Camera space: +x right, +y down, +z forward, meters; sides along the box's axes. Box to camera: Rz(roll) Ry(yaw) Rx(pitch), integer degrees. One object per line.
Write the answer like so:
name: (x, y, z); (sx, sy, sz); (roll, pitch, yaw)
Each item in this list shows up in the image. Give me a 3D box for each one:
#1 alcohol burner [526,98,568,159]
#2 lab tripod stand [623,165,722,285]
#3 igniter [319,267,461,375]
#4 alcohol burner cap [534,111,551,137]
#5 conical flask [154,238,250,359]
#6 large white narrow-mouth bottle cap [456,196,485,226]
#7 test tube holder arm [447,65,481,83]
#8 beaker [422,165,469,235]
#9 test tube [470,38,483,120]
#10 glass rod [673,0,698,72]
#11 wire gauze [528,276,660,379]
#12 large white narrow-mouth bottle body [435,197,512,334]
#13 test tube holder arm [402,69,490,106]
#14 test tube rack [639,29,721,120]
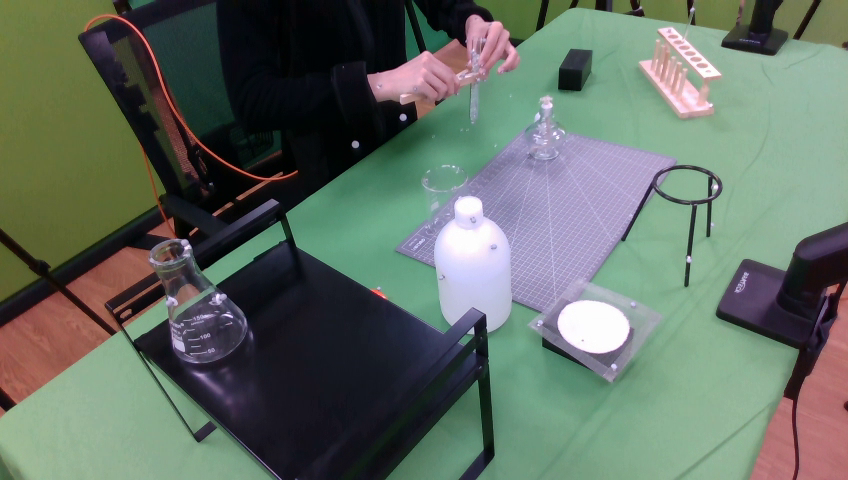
alcohol burner: (0.228, -0.210, 1.118); (0.078, 0.119, 0.077); (-5, 43, 5)
lab tripod stand: (0.365, -0.030, 0.874); (0.148, 0.132, 0.147); (-6, 41, 6)
igniter: (-0.060, 0.108, 0.862); (0.274, 0.025, 0.057); (28, 62, 35)
alcohol burner cap: (0.235, -0.231, 1.197); (0.034, 0.048, 0.033); (-5, 39, 4)
conical flask: (-0.225, 0.055, 0.597); (0.075, 0.122, 0.075); (-5, 41, 4)
large white narrow-mouth bottle cap: (0.057, -0.036, 0.749); (0.038, 0.024, 0.037); (-4, 40, 4)
test tube holder arm: (0.067, -0.271, 1.008); (0.010, 0.015, 0.088); (25, 45, 28)
beaker: (0.041, -0.063, 0.986); (0.073, 0.101, 0.084); (20, 47, 29)
test tube: (0.088, -0.269, 1.025); (0.017, 0.151, 0.017); (0, 43, 1)
glass rod: (0.537, -0.425, 1.244); (0.008, 0.200, 0.008); (0, 47, 0)
wire gauze: (0.214, 0.103, 0.763); (0.124, 0.011, 0.122); (30, 52, 35)
large white narrow-mouth bottle body: (0.066, 0.028, 0.805); (0.102, 0.195, 0.101); (-4, 40, 4)
test tube holder arm: (0.039, -0.249, 0.980); (0.179, 0.015, 0.013); (-27, 45, -30)
test tube rack: (0.527, -0.351, 1.262); (0.067, 0.085, 0.241); (-8, 40, 1)
